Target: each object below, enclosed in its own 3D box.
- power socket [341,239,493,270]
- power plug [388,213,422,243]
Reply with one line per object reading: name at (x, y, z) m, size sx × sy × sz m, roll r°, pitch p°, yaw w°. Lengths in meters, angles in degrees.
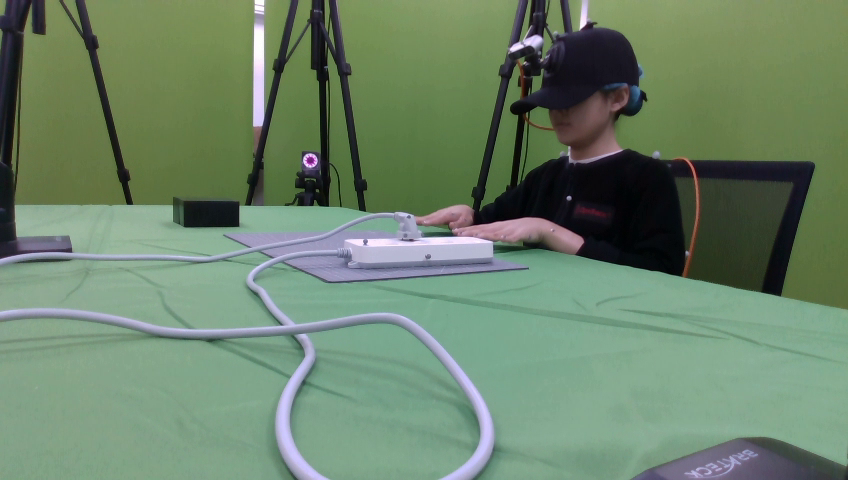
power socket at (-0.006, 0.018, 0.831) m, size 0.228 × 0.032 × 0.072 m, roll -1°, pitch 7°, yaw -29°
power plug at (-0.026, -0.010, 0.848) m, size 0.035 × 0.052 × 0.072 m, roll 1°, pitch 9°, yaw -17°
